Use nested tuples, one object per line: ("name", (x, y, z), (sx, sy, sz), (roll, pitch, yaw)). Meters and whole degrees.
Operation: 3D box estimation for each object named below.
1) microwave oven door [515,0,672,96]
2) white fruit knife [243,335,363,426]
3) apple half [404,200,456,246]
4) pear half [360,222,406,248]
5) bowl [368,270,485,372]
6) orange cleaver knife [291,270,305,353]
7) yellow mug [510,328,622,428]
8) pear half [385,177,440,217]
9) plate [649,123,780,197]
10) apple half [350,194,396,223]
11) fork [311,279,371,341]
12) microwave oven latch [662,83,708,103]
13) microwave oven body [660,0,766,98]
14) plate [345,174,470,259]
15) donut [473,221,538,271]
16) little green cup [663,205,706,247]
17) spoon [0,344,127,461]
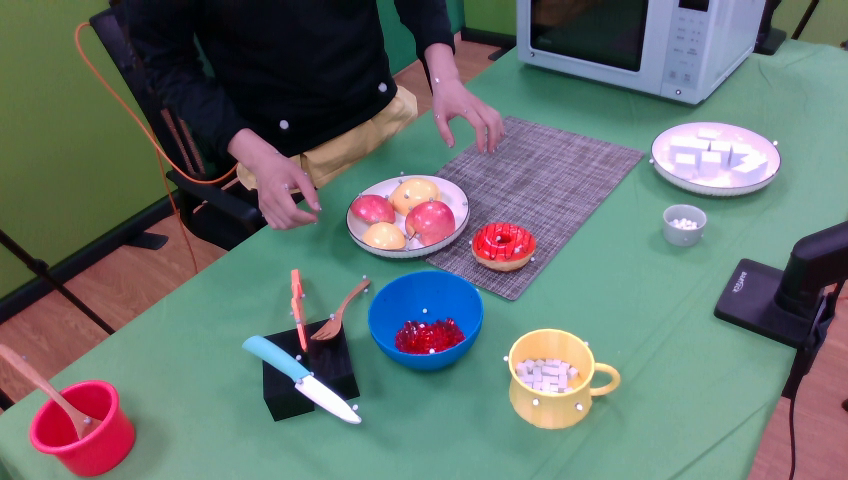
("microwave oven door", (0.343, -0.454, 1.259), (0.353, 0.245, 0.039), (26, 51, 33))
("white fruit knife", (-0.148, 0.166, 0.730), (0.206, 0.016, 0.027), (26, 80, 31))
("apple half", (0.009, -0.035, 0.969), (0.075, 0.053, 0.080), (-27, 40, -22))
("pear half", (-0.064, -0.013, 0.959), (0.071, 0.031, 0.087), (5, 21, -24))
("bowl", (0.007, 0.118, 0.791), (0.151, 0.077, 0.150), (-5, 40, 4))
("orange cleaver knife", (-0.175, 0.094, 0.844), (0.012, 0.077, 0.210), (-11, 14, -10))
("yellow mug", (0.168, 0.164, 0.722), (0.130, 0.064, 0.099), (0, 41, 8))
("pear half", (-0.030, -0.079, 1.033), (0.109, 0.056, 0.076), (0, 36, 15))
("plate", (0.497, -0.135, 1.046), (0.207, 0.039, 0.206), (-4, 40, 4))
("apple half", (-0.081, -0.058, 1.008), (0.081, 0.033, 0.081), (12, 22, -5))
("fork", (-0.108, 0.092, 0.832), (0.028, 0.019, 0.207), (-6, 19, 15))
("microwave oven latch", (0.518, -0.297, 1.204), (0.078, 0.029, 0.030), (28, 52, 35))
("microwave oven body", (0.472, -0.513, 1.317), (0.438, 0.261, 0.327), (26, 51, 34))
("plate", (-0.026, -0.037, 1.004), (0.209, 0.038, 0.208), (-4, 40, 4))
("donut", (0.123, 0.008, 0.923), (0.099, 0.048, 0.098), (-3, 38, 3))
("little green cup", (0.396, -0.021, 0.926), (0.061, 0.039, 0.061), (-4, 40, 4))
("spoon", (-0.433, 0.191, 0.721), (0.194, 0.021, 0.042), (47, 53, -6))
